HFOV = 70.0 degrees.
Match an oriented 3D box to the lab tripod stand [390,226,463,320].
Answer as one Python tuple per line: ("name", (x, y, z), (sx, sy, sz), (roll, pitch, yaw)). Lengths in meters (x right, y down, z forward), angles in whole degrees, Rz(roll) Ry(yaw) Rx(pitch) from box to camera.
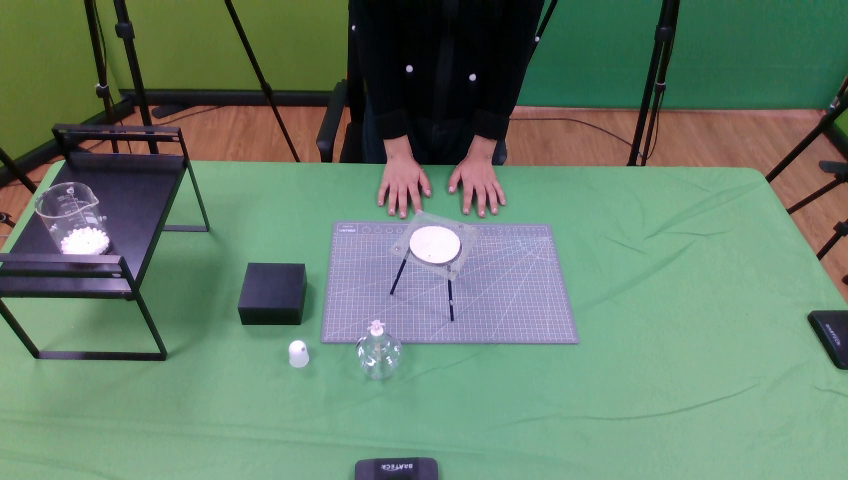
("lab tripod stand", (0.014, 0.053, 1.063), (0.148, 0.132, 0.147), (1, 48, -1))

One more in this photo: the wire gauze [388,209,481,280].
("wire gauze", (0.018, 0.002, 1.019), (0.125, 0.011, 0.121), (21, 49, 17))

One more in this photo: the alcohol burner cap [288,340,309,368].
("alcohol burner cap", (-0.207, 0.183, 0.991), (0.034, 0.048, 0.033), (3, 47, -3))

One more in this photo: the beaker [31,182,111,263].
("beaker", (-0.502, -0.022, 0.877), (0.084, 0.101, 0.073), (-2, 47, -7))

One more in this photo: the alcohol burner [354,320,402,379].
("alcohol burner", (-0.074, 0.169, 0.964), (0.078, 0.120, 0.077), (1, 46, -1))
